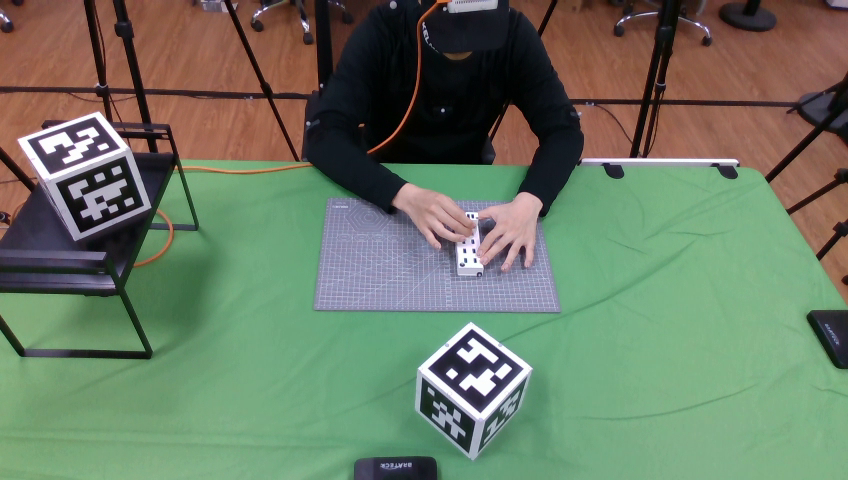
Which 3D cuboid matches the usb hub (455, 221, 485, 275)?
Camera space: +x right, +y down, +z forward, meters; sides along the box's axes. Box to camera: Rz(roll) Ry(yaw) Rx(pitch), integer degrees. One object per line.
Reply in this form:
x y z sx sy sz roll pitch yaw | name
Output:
0.088 0.014 1.178 0.049 0.025 0.124 0 46 -3 | usb hub

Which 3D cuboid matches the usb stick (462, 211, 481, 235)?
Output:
0.092 -0.036 1.168 0.027 0.059 0.021 -24 64 -18 | usb stick
